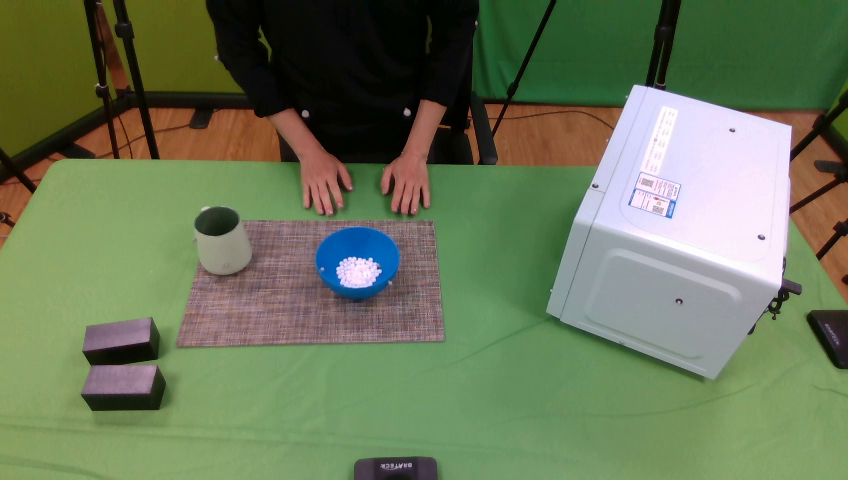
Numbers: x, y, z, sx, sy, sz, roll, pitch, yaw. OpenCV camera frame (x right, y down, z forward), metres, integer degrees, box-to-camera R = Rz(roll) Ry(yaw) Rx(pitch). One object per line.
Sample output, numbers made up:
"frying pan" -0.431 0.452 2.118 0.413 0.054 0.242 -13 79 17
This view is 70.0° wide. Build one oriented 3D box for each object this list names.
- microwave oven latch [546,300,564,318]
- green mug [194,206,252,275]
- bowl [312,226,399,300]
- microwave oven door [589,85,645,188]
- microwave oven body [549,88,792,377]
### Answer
"microwave oven latch" 0.242 0.102 1.081 0.030 0.029 0.079 21 48 17
"green mug" -0.377 -0.008 1.112 0.092 0.105 0.124 -26 53 -26
"bowl" -0.121 0.054 1.091 0.151 0.077 0.150 2 46 -2
"microwave oven door" 0.342 -0.107 1.149 0.039 0.245 0.354 20 48 15
"microwave oven body" 0.456 -0.028 1.088 0.325 0.261 0.440 20 47 16
